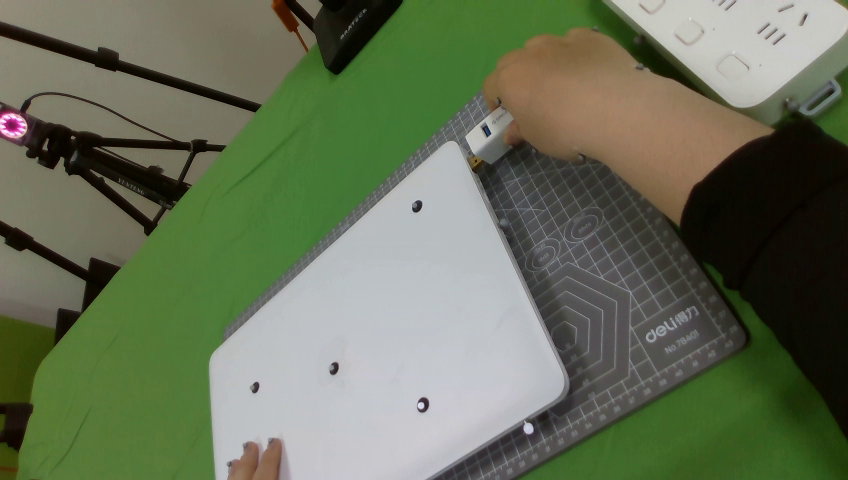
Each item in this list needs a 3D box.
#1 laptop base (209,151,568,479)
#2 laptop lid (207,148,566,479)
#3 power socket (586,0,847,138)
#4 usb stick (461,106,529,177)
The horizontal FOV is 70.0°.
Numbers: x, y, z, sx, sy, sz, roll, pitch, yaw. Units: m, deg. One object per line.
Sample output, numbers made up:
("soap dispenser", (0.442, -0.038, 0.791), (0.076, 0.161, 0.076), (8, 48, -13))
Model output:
("laptop base", (-0.063, 0.114, 0.496), (0.354, 0.023, 0.233), (-40, 50, 23))
("laptop lid", (-0.070, 0.112, 0.487), (0.357, 0.013, 0.239), (-39, 49, 24))
("power socket", (0.170, -0.149, 0.389), (0.072, 0.033, 0.224), (-42, 45, 20))
("usb stick", (0.048, -0.071, 0.457), (0.059, 0.027, 0.021), (-42, 50, 30))
